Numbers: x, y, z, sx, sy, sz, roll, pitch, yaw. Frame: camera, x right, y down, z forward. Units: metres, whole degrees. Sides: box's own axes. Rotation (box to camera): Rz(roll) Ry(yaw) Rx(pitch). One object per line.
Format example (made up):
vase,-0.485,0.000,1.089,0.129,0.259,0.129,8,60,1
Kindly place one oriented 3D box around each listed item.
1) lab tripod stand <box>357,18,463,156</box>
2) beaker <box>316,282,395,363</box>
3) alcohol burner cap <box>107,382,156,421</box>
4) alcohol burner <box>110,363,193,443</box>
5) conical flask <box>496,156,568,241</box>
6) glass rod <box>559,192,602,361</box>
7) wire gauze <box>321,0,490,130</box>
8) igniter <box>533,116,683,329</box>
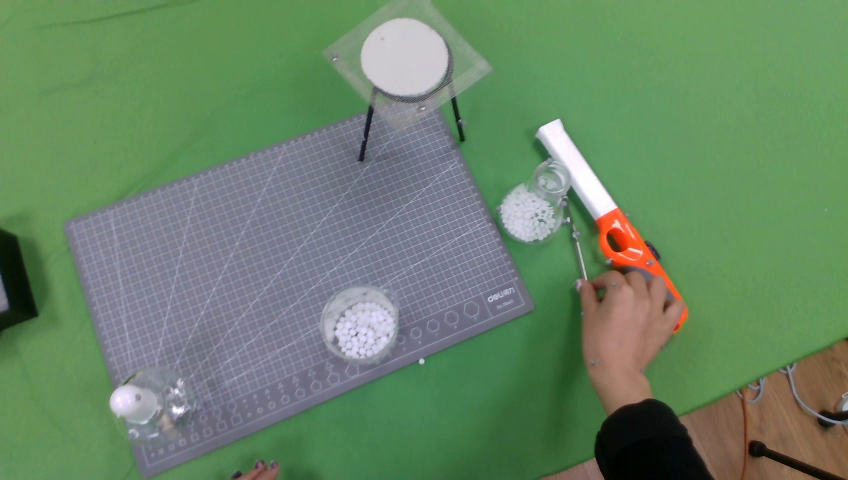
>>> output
lab tripod stand,-0.021,-0.162,0.666,0.148,0.132,0.147,1,76,-3
beaker,-0.063,0.086,0.617,0.084,0.100,0.073,-41,80,-11
alcohol burner cap,-0.268,0.144,0.549,0.034,0.048,0.033,2,65,-4
alcohol burner,-0.269,0.156,0.583,0.078,0.119,0.077,1,73,-3
conical flask,0.122,-0.049,0.650,0.075,0.122,0.075,1,76,-2
glass rod,0.177,0.039,0.689,0.008,0.008,0.198,-8,76,-5
wire gauze,-0.018,-0.184,0.603,0.125,0.011,0.121,-38,82,-11
igniter,0.211,-0.024,0.696,0.057,0.025,0.275,-27,78,-20
